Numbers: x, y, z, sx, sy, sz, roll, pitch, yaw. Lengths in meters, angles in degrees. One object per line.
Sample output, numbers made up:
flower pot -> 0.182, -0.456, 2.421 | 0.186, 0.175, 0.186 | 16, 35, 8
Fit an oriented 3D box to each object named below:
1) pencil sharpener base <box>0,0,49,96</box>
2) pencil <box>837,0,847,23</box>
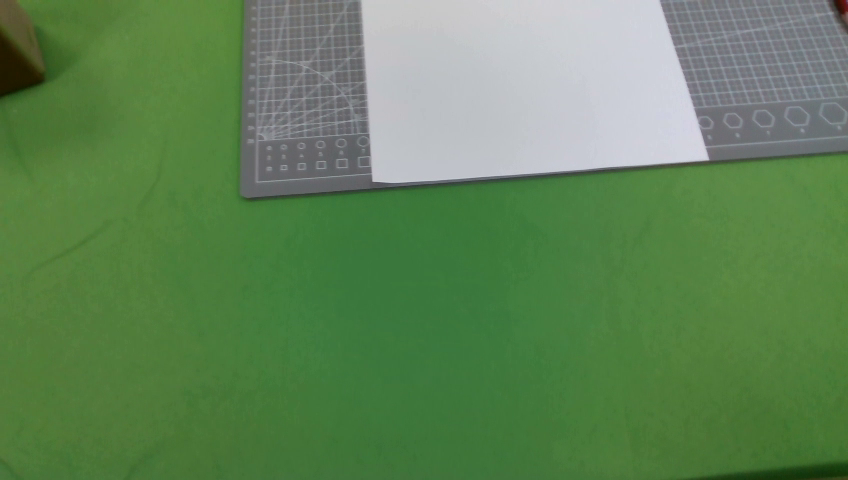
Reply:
pencil sharpener base -> -0.295, -0.137, 0.363 | 0.077, 0.108, 0.061 | -24, 69, -9
pencil -> 0.291, -0.227, 0.452 | 0.012, 0.012, 0.192 | -6, 68, -2
